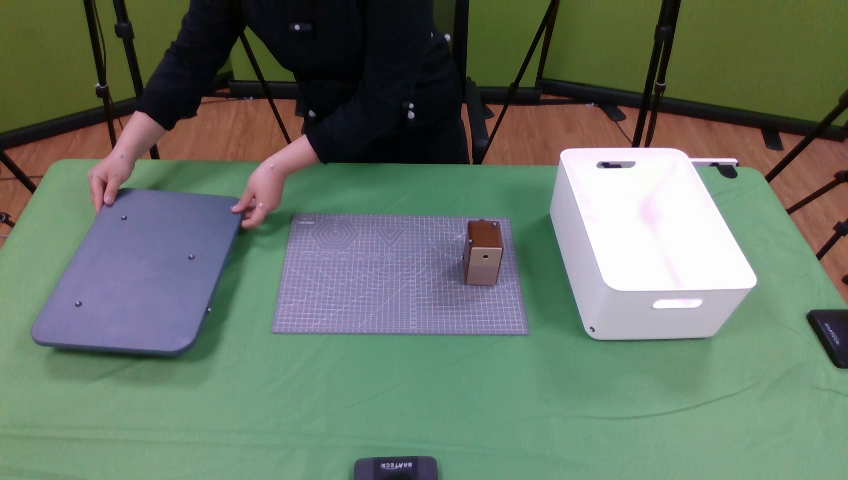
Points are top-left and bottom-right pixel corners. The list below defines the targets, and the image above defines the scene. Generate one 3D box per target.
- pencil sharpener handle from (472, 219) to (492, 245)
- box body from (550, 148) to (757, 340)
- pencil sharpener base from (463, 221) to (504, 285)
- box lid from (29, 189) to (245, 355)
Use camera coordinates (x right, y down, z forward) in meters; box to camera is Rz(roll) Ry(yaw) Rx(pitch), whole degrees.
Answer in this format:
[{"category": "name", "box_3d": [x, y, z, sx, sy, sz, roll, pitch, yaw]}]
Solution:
[{"category": "pencil sharpener handle", "box_3d": [0.105, -0.021, 1.146, 0.036, 0.068, 0.030, 6, 44, -7]}, {"category": "box body", "box_3d": [0.395, 0.003, 1.127, 0.254, 0.161, 0.361, -1, 46, -5]}, {"category": "pencil sharpener base", "box_3d": [0.107, 0.024, 1.119, 0.061, 0.107, 0.076, 1, 45, -2]}, {"category": "box lid", "box_3d": [-0.487, 0.041, 1.068, 0.263, 0.015, 0.369, 4, 46, -1]}]
